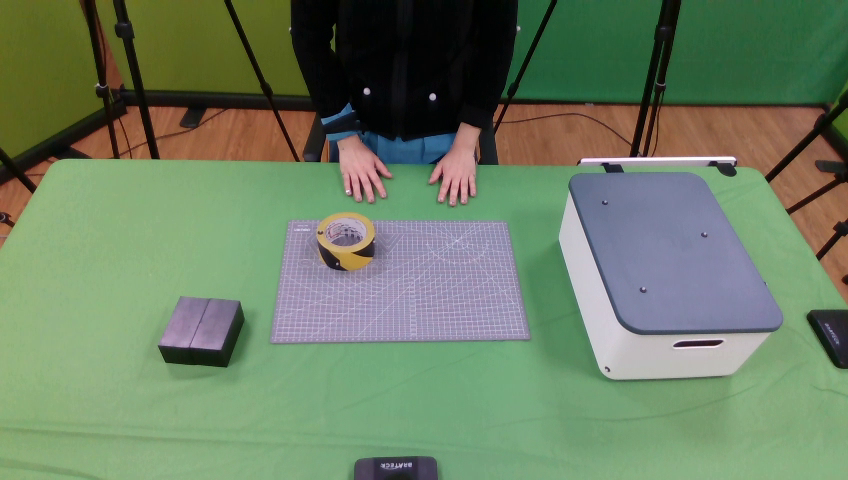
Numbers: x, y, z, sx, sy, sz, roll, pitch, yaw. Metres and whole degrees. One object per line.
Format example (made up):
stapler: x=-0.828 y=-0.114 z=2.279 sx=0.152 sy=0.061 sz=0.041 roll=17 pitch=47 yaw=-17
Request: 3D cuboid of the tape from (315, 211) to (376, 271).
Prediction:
tape: x=-0.150 y=0.000 z=1.160 sx=0.117 sy=0.053 sz=0.116 roll=3 pitch=46 yaw=-3

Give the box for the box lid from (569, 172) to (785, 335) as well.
box lid: x=0.408 y=0.007 z=1.019 sx=0.263 sy=0.015 sz=0.369 roll=-1 pitch=46 yaw=-5

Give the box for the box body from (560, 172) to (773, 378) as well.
box body: x=0.405 y=0.057 z=1.074 sx=0.254 sy=0.161 sz=0.361 roll=-1 pitch=46 yaw=-5
